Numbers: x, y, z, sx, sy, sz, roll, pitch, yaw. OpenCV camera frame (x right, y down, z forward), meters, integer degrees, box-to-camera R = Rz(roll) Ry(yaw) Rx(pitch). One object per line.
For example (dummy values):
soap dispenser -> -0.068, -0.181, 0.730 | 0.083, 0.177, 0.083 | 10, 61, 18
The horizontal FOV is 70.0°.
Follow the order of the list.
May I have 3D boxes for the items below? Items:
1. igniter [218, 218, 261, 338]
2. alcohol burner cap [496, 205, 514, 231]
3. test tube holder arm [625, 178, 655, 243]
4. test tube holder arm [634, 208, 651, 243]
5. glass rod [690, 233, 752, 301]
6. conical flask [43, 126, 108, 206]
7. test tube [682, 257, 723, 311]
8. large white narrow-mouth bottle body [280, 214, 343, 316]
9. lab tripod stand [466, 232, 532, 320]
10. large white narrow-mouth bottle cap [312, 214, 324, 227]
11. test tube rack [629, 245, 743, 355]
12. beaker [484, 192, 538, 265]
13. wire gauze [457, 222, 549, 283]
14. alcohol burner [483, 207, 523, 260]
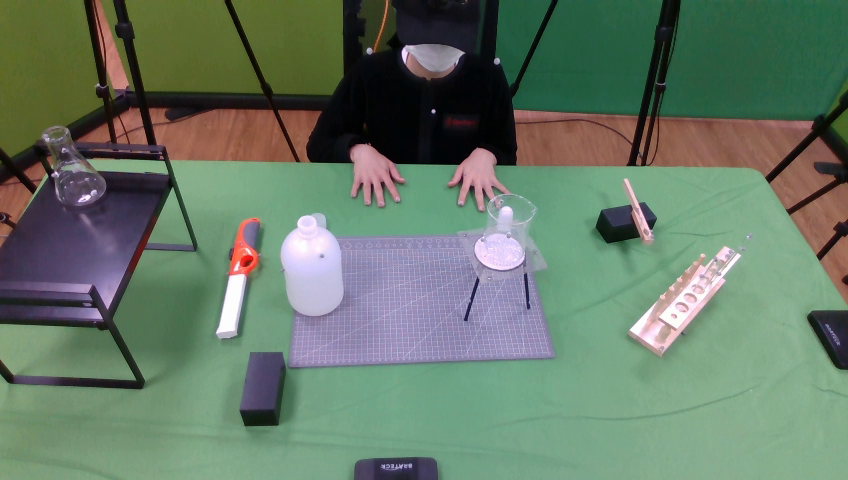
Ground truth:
igniter -> -0.336, 0.060, 1.111 | 0.057, 0.025, 0.274 | -8, 46, 4
alcohol burner cap -> 0.153, -0.044, 1.131 | 0.034, 0.048, 0.033 | 2, 40, -1
test tube holder arm -> 0.433, -0.062, 1.220 | 0.013, 0.015, 0.177 | 1, 47, -3
test tube holder arm -> 0.428, -0.030, 1.189 | 0.010, 0.015, 0.087 | 1, 47, -2
glass rod -> 0.507, 0.053, 1.041 | 0.008, 0.200, 0.008 | 5, 50, -6
conical flask -> -0.555, -0.119, 0.953 | 0.075, 0.122, 0.075 | 2, 46, -2
test tube -> 0.474, 0.080, 1.037 | 0.017, 0.151, 0.017 | 1, 50, -1
large white narrow-mouth bottle body -> -0.190, 0.035, 1.025 | 0.102, 0.195, 0.101 | 2, 46, -2
lab tripod stand -> 0.125, 0.059, 1.065 | 0.148, 0.132, 0.147 | 1, 45, 0
large white narrow-mouth bottle cap -> -0.219, -0.033, 1.214 | 0.038, 0.024, 0.037 | 2, 46, -2
test tube rack -> 0.474, 0.095, 1.091 | 0.242, 0.085, 0.066 | -34, 56, -31
beaker -> 0.137, -0.016, 0.980 | 0.084, 0.101, 0.073 | -6, 45, -9
wire gauze -> 0.131, 0.016, 1.017 | 0.121, 0.011, 0.124 | -10, 44, -16
alcohol burner -> 0.152, -0.018, 1.156 | 0.078, 0.120, 0.077 | 0, 47, 0
